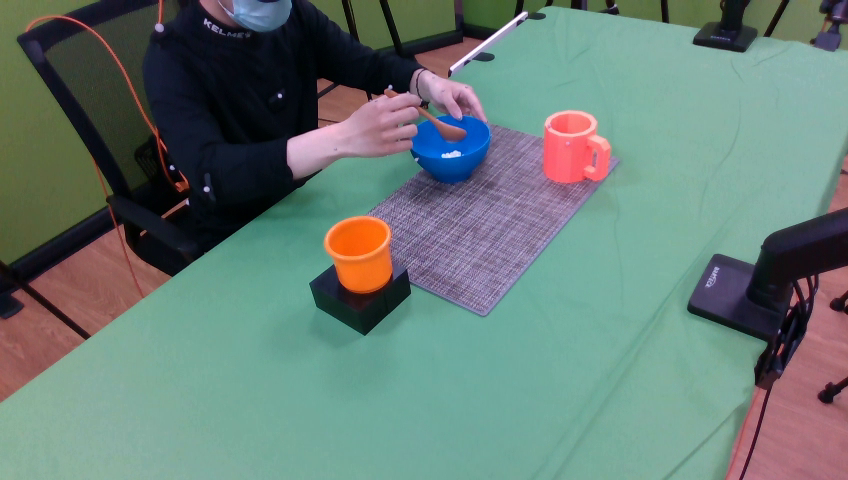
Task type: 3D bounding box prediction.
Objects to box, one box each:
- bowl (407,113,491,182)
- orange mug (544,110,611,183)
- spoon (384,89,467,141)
[{"bbox_3d":[0.048,-0.158,1.097,0.151,0.077,0.150,-4,41,4],"label":"bowl"},{"bbox_3d":[0.266,-0.157,1.049,0.084,0.101,0.125,-33,42,-26],"label":"orange mug"},{"bbox_3d":[0.004,-0.207,1.003,0.041,0.195,0.021,-34,51,32],"label":"spoon"}]
